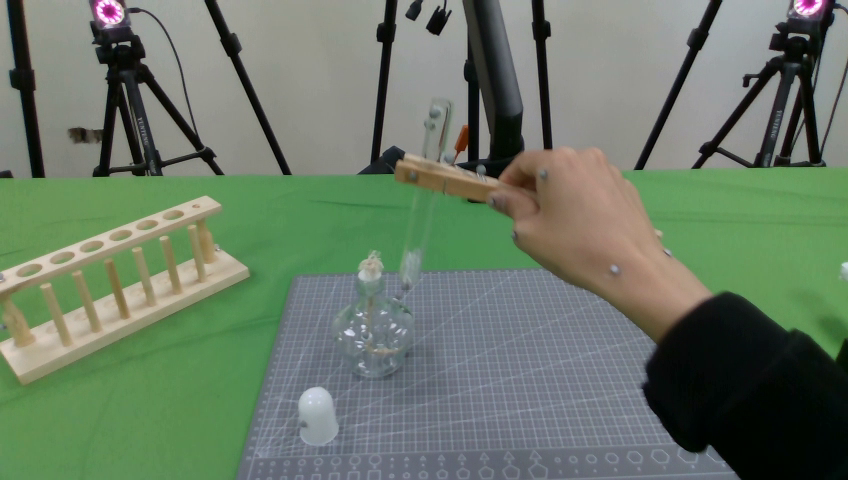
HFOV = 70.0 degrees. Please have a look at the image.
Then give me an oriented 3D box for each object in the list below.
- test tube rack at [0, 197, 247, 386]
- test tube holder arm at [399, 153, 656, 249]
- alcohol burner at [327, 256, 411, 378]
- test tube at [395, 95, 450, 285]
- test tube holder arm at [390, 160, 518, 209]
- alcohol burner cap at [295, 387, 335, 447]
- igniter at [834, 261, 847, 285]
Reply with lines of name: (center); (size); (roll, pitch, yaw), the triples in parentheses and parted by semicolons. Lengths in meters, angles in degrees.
test tube rack: (-0.315, 0.043, 0.630); (0.066, 0.086, 0.242); (27, 41, 36)
test tube holder arm: (0.064, -0.028, 0.404); (0.177, 0.015, 0.013); (18, 35, 16)
alcohol burner: (-0.051, 0.067, 0.555); (0.078, 0.120, 0.077); (0, 30, 0)
test tube: (-0.003, -0.029, 0.429); (0.017, 0.151, 0.017); (8, 33, -5)
test tube holder arm: (0.020, -0.038, 0.410); (0.087, 0.015, 0.010); (14, 34, 9)
alcohol burner cap: (-0.092, 0.143, 0.500); (0.034, 0.048, 0.033); (0, 32, 0)
igniter: (0.442, 0.093, 0.502); (0.057, 0.025, 0.274); (-3, 28, -2)
